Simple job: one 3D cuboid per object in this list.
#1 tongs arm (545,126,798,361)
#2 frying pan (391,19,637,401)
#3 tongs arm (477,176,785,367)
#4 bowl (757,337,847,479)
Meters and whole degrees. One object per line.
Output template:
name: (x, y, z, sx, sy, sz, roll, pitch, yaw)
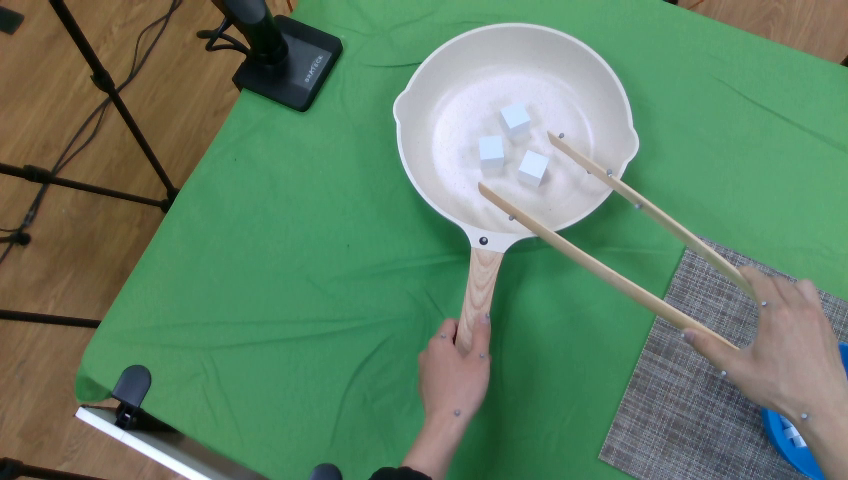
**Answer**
tongs arm: (0.237, -0.019, 0.654, 0.051, 0.027, 0.380, -34, 49, -9)
frying pan: (0.086, -0.047, 0.739, 0.306, 0.103, 0.485, 12, 68, 8)
tongs arm: (0.187, 0.017, 0.645, 0.028, 0.028, 0.383, -38, 49, -16)
bowl: (0.433, 0.185, 0.665, 0.151, 0.077, 0.150, -1, 75, 3)
